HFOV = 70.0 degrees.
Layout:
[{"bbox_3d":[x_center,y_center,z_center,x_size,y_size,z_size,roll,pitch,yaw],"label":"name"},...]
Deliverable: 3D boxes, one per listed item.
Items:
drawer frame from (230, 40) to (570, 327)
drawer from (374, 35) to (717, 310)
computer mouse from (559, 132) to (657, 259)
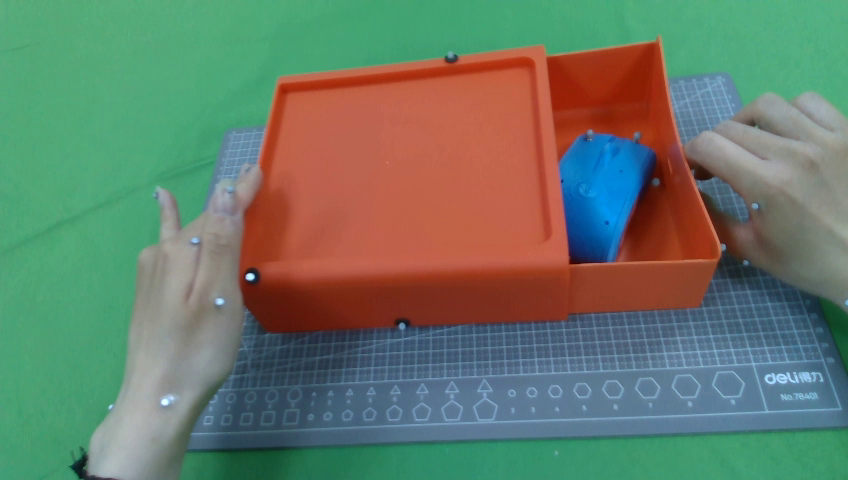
[{"bbox_3d":[-0.008,-0.042,0.441,0.213,0.083,0.200,-5,56,9],"label":"drawer frame"},{"bbox_3d":[0.073,-0.047,0.431,0.211,0.074,0.192,-4,56,9],"label":"drawer"},{"bbox_3d":[0.121,-0.039,0.429,0.062,0.041,0.116,18,53,25],"label":"computer mouse"}]
